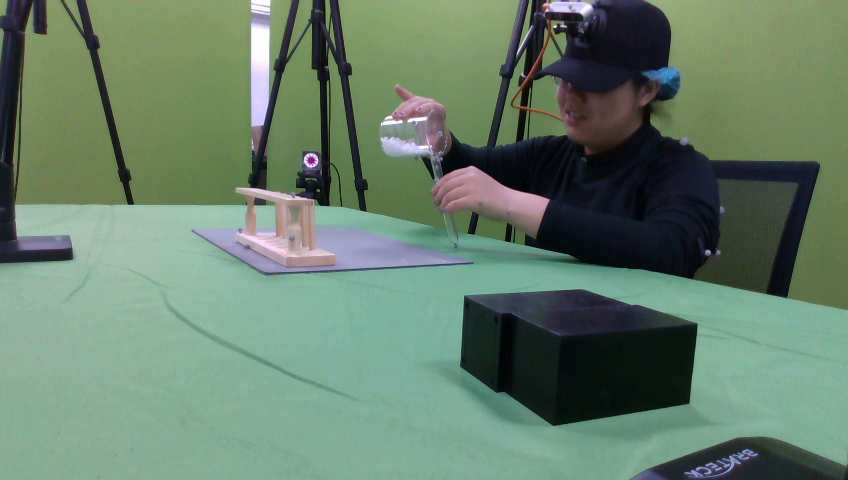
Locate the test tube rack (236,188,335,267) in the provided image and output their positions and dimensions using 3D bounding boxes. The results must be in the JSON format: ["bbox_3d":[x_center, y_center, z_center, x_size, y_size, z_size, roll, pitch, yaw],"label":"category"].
[{"bbox_3d":[-0.202,-0.024,0.855,0.067,0.085,0.241,-2,8,-31],"label":"test tube rack"}]

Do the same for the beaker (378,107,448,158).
[{"bbox_3d":[-0.020,-0.177,1.022,0.100,0.084,0.074,0,-1,31],"label":"beaker"}]

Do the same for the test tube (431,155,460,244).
[{"bbox_3d":[0.035,-0.067,0.993,0.017,0.150,0.017,-13,-5,-1],"label":"test tube"}]
